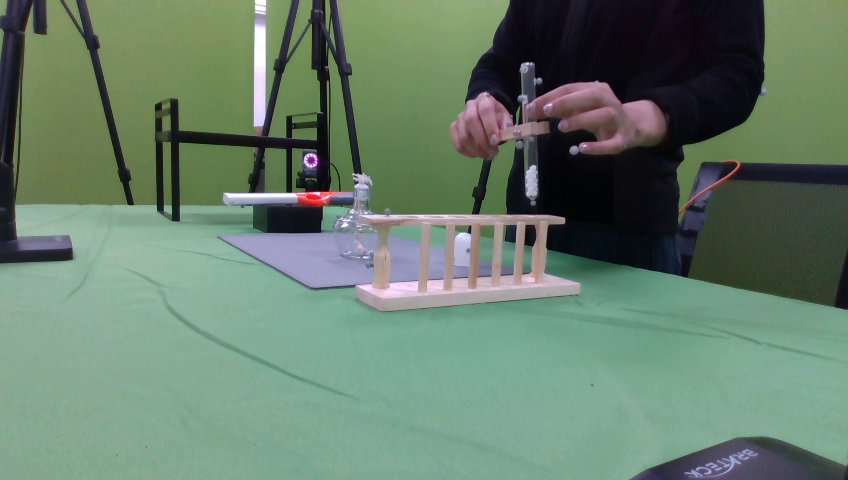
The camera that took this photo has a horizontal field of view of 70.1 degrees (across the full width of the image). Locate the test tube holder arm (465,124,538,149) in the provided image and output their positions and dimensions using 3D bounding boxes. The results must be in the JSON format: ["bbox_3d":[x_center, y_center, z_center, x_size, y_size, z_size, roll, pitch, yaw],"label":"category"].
[{"bbox_3d":[0.090,-0.125,0.735,0.013,0.015,0.177,1,3,-21],"label":"test tube holder arm"}]

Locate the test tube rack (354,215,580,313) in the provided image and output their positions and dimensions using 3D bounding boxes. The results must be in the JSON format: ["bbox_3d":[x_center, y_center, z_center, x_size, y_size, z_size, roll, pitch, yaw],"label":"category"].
[{"bbox_3d":[0.053,0.019,0.635,0.243,0.085,0.066,-1,8,-29],"label":"test tube rack"}]

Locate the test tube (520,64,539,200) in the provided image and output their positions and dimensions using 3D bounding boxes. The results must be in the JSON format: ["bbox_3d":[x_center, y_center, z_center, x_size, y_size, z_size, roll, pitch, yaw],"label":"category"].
[{"bbox_3d":[0.118,-0.120,0.675,0.017,0.150,0.017,-3,6,1],"label":"test tube"}]

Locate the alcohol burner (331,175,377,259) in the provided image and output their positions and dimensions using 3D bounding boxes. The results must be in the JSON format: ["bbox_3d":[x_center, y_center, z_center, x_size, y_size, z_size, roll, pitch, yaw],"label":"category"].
[{"bbox_3d":[-0.091,-0.033,0.855,0.078,0.119,0.078,4,7,0],"label":"alcohol burner"}]

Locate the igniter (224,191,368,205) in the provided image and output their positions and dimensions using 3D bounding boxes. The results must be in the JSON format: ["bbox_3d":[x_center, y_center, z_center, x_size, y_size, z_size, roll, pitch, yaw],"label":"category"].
[{"bbox_3d":[-0.237,-0.079,1.157,0.278,0.025,0.057,-3,21,-31],"label":"igniter"}]

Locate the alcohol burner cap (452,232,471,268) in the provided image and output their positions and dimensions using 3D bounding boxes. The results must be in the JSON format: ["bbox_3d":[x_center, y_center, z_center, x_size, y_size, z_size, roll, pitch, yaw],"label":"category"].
[{"bbox_3d":[0.053,0.013,0.822,0.034,0.048,0.034,1,5,0],"label":"alcohol burner cap"}]

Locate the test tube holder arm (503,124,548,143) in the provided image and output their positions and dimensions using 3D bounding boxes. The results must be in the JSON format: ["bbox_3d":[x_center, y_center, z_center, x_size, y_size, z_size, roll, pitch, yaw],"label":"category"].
[{"bbox_3d":[0.112,-0.122,0.697,0.010,0.015,0.087,0,3,-27],"label":"test tube holder arm"}]
